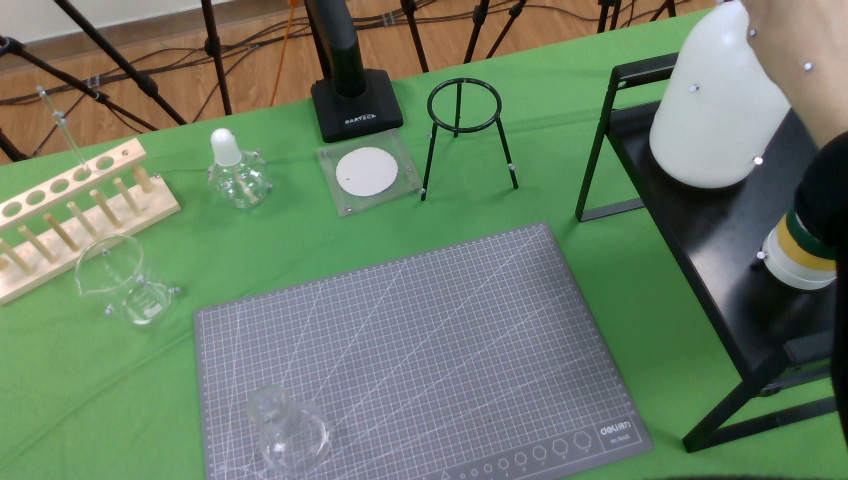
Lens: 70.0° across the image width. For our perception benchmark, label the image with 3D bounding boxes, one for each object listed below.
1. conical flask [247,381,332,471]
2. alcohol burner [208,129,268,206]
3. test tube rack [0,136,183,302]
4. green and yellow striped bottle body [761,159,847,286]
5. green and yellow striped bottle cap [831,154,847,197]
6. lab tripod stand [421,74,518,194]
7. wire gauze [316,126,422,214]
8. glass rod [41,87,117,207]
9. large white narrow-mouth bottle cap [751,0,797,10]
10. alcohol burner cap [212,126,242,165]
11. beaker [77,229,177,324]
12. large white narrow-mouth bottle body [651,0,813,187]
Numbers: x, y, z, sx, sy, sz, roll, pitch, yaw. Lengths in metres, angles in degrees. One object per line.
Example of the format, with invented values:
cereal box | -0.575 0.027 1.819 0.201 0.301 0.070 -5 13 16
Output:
conical flask | -0.136 0.175 0.591 0.075 0.123 0.074 -1 57 3
alcohol burner | -0.244 -0.099 0.780 0.078 0.120 0.077 -1 55 2
test tube rack | -0.444 -0.028 0.761 0.242 0.086 0.066 -32 61 -17
green and yellow striped bottle body | 0.324 -0.018 0.481 0.063 0.121 0.062 -2 57 3
green and yellow striped bottle cap | 0.323 -0.046 0.437 0.045 0.020 0.045 -2 58 3
lab tripod stand | 0.055 -0.132 0.774 0.148 0.132 0.147 0 56 1
wire gauze | -0.076 -0.102 0.835 0.121 0.011 0.124 -18 58 -10
glass rod | -0.409 -0.104 0.728 0.008 0.201 0.008 1 54 -1
large white narrow-mouth bottle cap | 0.260 -0.189 0.446 0.038 0.024 0.037 -2 56 3
alcohol burner cap | -0.246 -0.120 0.750 0.034 0.048 0.033 4 54 -5
beaker | -0.339 0.049 0.699 0.073 0.101 0.083 27 63 19
large white narrow-mouth bottle body | 0.266 -0.140 0.518 0.102 0.196 0.101 -2 56 3
